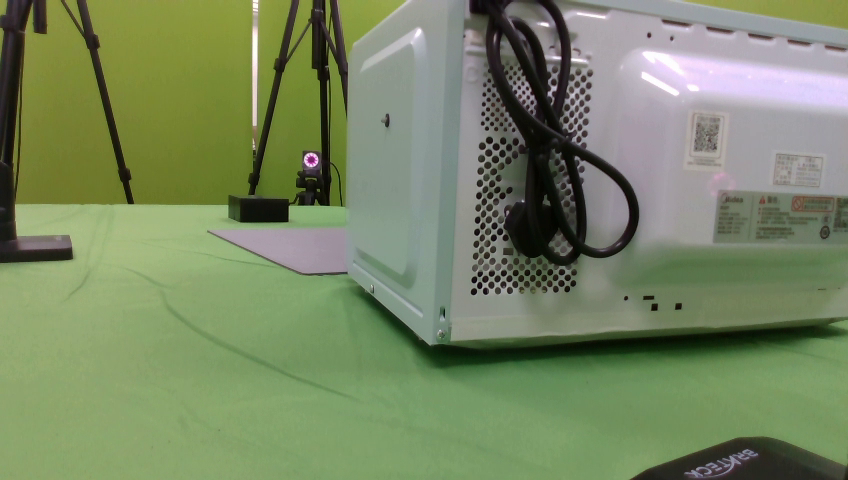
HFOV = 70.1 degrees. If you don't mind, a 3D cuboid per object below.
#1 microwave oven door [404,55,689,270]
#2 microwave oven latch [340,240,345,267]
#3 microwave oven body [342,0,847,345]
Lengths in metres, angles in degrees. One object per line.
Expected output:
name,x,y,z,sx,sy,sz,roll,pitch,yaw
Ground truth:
microwave oven door,0.157,-0.086,0.739,0.357,0.243,0.039,0,7,-15
microwave oven latch,-0.052,0.016,0.662,0.079,0.029,0.030,1,7,-18
microwave oven body,0.169,-0.060,0.573,0.444,0.260,0.324,1,7,-20
